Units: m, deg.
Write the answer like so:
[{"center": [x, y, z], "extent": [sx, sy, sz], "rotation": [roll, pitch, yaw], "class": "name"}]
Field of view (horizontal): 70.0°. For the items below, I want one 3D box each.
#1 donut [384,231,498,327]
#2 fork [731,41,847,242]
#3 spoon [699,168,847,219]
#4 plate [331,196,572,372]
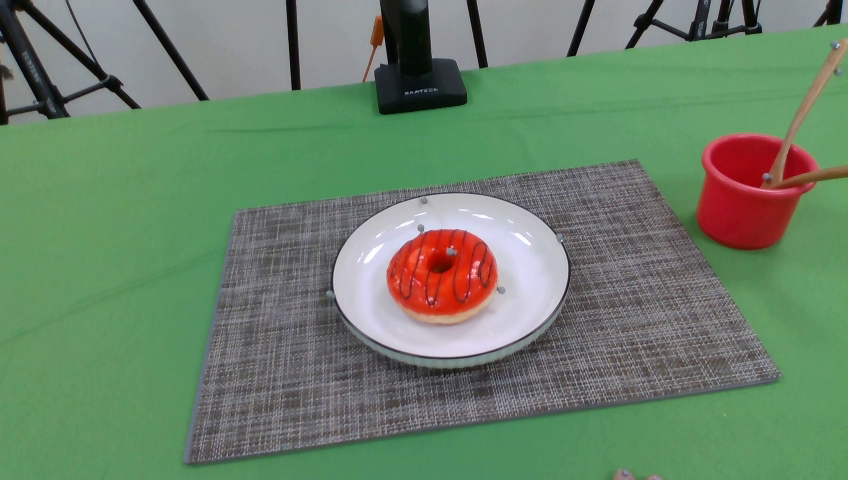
[{"center": [0.015, 0.033, 0.526], "extent": [0.099, 0.049, 0.098], "rotation": [-4, 44, 4], "class": "donut"}, {"center": [0.343, -0.090, 0.562], "extent": [0.019, 0.207, 0.028], "rotation": [22, 5, -23], "class": "fork"}, {"center": [0.321, -0.045, 0.523], "extent": [0.041, 0.193, 0.022], "rotation": [-38, 95, -23], "class": "spoon"}, {"center": [0.024, 0.037, 0.538], "extent": [0.209, 0.038, 0.207], "rotation": [-3, 41, 3], "class": "plate"}]
